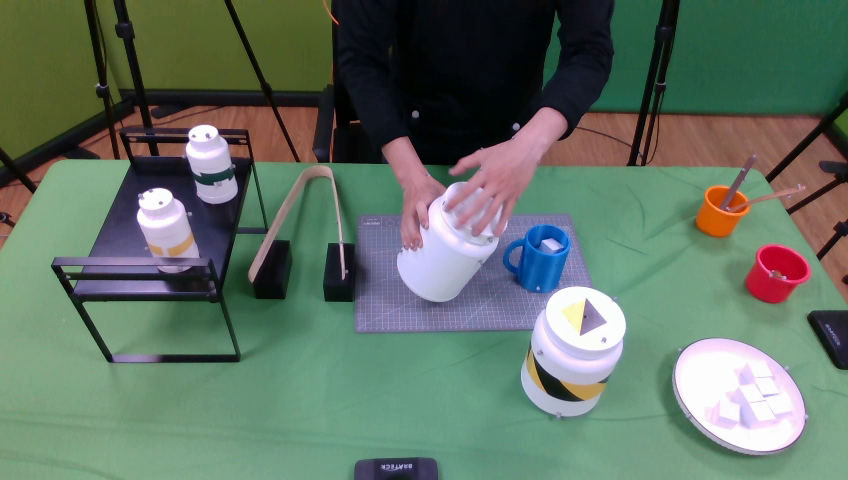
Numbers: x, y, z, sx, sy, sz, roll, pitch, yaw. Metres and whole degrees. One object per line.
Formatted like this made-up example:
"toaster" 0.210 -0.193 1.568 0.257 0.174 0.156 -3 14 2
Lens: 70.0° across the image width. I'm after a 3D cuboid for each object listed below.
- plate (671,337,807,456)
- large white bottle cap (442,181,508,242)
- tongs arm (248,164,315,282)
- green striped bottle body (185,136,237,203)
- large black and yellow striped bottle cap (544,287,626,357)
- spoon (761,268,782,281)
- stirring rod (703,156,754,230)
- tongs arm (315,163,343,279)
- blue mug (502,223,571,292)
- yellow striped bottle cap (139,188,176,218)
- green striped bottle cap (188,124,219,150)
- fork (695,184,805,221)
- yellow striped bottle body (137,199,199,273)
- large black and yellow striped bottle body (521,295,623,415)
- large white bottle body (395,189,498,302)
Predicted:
"plate" 0.504 0.253 0.984 0.208 0.039 0.206 2 46 -2
"large white bottle cap" 0.082 -0.048 0.971 0.115 0.018 0.114 19 45 -19
"tongs arm" -0.269 -0.047 1.166 0.028 0.028 0.385 -1 34 7
"green striped bottle body" -0.341 -0.122 0.969 0.063 0.120 0.063 2 46 -2
"large black and yellow striped bottle cap" 0.232 0.116 0.876 0.115 0.019 0.114 2 46 -1
"spoon" 0.638 0.060 1.105 0.041 0.021 0.194 38 11 24
"stirring rod" 0.631 -0.098 1.258 0.014 0.006 0.176 33 95 29
"tongs arm" -0.187 -0.049 1.170 0.051 0.026 0.382 -6 35 -6
"blue mug" 0.202 0.032 1.121 0.116 0.106 0.082 5 46 1
"yellow striped bottle cap" -0.363 -0.051 0.826 0.044 0.019 0.044 0 48 0
"green striped bottle cap" -0.339 -0.158 0.931 0.044 0.020 0.044 4 45 -4
"fork" 0.657 -0.075 1.230 0.207 0.019 0.028 -23 34 37
"yellow striped bottle body" -0.366 -0.014 0.863 0.063 0.121 0.062 2 46 -2
"large black and yellow striped bottle body" 0.228 0.173 0.938 0.131 0.185 0.130 2 47 -2
"large white bottle body" 0.044 0.004 1.026 0.131 0.185 0.130 19 44 -19
